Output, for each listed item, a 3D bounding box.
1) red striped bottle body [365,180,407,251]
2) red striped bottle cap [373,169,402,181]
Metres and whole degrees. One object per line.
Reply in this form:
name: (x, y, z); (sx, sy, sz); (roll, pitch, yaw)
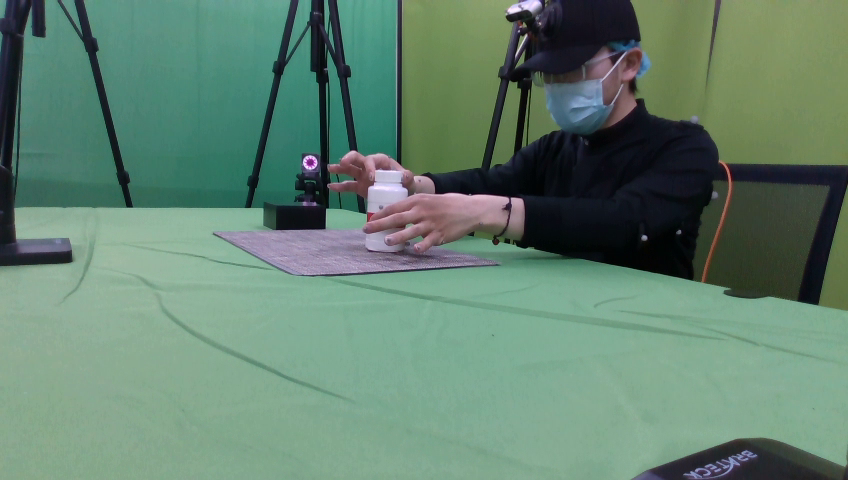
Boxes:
red striped bottle body: (-0.059, -0.046, 0.941); (0.063, 0.119, 0.063); (3, 9, 0)
red striped bottle cap: (-0.056, -0.101, 0.934); (0.044, 0.017, 0.044); (1, 7, 0)
